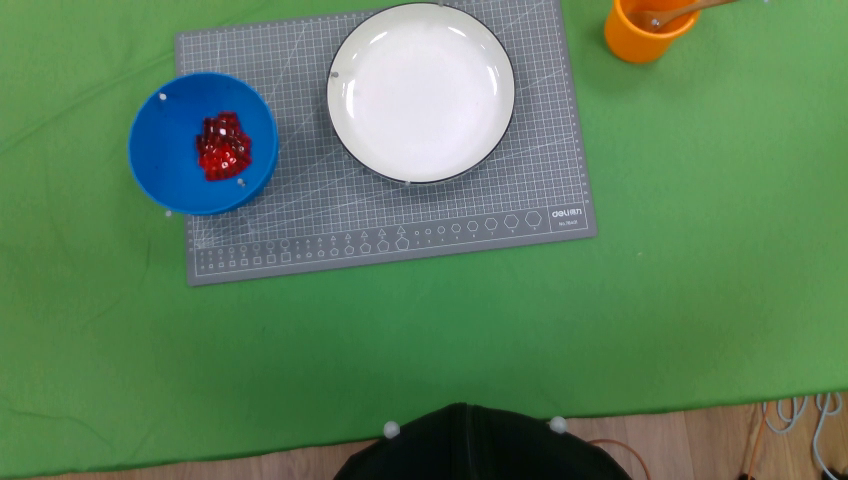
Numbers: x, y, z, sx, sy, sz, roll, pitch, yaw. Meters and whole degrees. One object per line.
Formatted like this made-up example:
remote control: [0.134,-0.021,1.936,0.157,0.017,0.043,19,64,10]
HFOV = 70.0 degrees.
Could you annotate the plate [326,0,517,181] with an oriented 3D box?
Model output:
plate: [-0.002,-0.164,0.672,0.209,0.038,0.208,0,81,1]

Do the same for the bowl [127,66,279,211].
bowl: [-0.221,-0.097,0.644,0.151,0.077,0.151,0,81,1]

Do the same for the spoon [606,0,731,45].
spoon: [0.280,-0.241,0.626,0.022,0.192,0.041,13,80,-41]
